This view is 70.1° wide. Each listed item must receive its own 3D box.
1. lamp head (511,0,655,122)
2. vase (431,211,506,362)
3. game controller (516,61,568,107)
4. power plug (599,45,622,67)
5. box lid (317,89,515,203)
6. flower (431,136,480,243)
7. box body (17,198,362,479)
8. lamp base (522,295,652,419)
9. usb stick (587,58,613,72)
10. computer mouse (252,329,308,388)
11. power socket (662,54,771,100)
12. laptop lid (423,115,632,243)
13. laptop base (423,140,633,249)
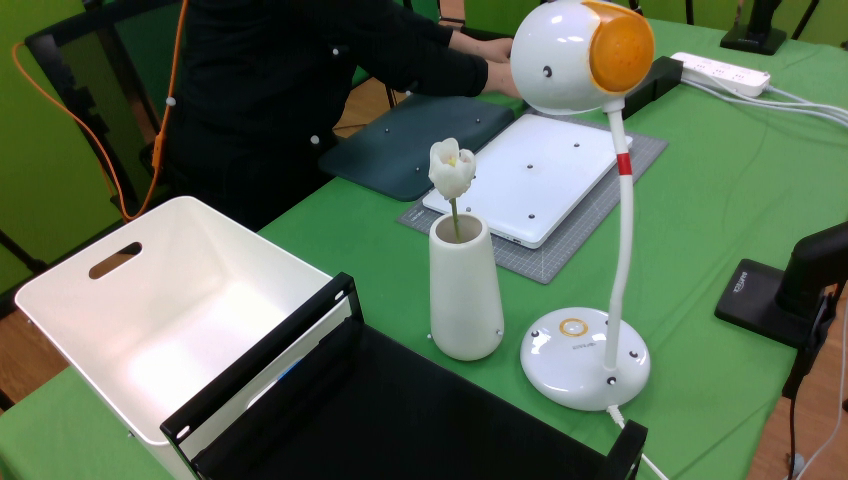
[{"bbox_3d":[0.155,-0.168,0.563,0.113,0.113,0.122,-18,23,-12],"label":"lamp head"},{"bbox_3d":[0.054,0.062,0.757,0.098,0.201,0.097,-3,40,3],"label":"vase"},{"bbox_3d":[0.259,-0.352,1.336,0.097,0.052,0.154,-2,41,2],"label":"game controller"},{"bbox_3d":[0.437,-0.422,1.412,0.053,0.035,0.072,-19,73,-46],"label":"power plug"},{"bbox_3d":[-0.009,-0.207,1.236,0.261,0.015,0.372,23,49,32],"label":"box lid"},{"bbox_3d":[0.041,0.011,0.691,0.044,0.363,0.038,16,62,14],"label":"flower"},{"bbox_3d":[-0.285,0.123,0.766,0.361,0.161,0.255,25,49,33],"label":"box body"},{"bbox_3d":[0.201,0.095,0.710,0.161,0.181,0.177,-16,43,-10],"label":"lamp base"},{"bbox_3d":[0.401,-0.399,1.381,0.059,0.027,0.021,0,49,21],"label":"usb stick"},{"bbox_3d":[-0.168,0.161,0.790,0.116,0.041,0.063,31,50,27],"label":"computer mouse"},{"bbox_3d":[0.615,-0.348,1.284,0.072,0.033,0.225,-36,48,-29],"label":"power socket"},{"bbox_3d":[0.190,-0.126,1.081,0.239,0.013,0.358,23,48,34],"label":"laptop lid"},{"bbox_3d":[0.194,-0.117,1.087,0.233,0.023,0.355,21,47,34],"label":"laptop base"}]
